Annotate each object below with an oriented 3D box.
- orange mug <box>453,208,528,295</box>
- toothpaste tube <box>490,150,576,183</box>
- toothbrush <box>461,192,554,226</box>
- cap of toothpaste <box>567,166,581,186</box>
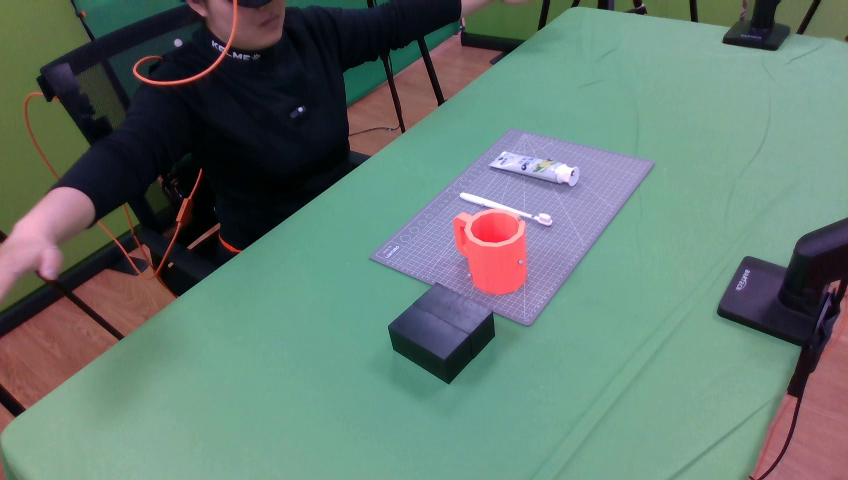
[{"bbox_3d":[0.094,0.009,0.894,0.125,0.101,0.084,32,55,33],"label":"orange mug"},{"bbox_3d":[0.202,-0.135,1.098,0.164,0.034,0.055,21,45,34],"label":"toothpaste tube"},{"bbox_3d":[0.137,-0.056,1.026,0.180,0.017,0.014,20,62,32],"label":"toothbrush"},{"bbox_3d":[0.260,-0.112,1.052,0.011,0.037,0.037,22,50,36],"label":"cap of toothpaste"}]
